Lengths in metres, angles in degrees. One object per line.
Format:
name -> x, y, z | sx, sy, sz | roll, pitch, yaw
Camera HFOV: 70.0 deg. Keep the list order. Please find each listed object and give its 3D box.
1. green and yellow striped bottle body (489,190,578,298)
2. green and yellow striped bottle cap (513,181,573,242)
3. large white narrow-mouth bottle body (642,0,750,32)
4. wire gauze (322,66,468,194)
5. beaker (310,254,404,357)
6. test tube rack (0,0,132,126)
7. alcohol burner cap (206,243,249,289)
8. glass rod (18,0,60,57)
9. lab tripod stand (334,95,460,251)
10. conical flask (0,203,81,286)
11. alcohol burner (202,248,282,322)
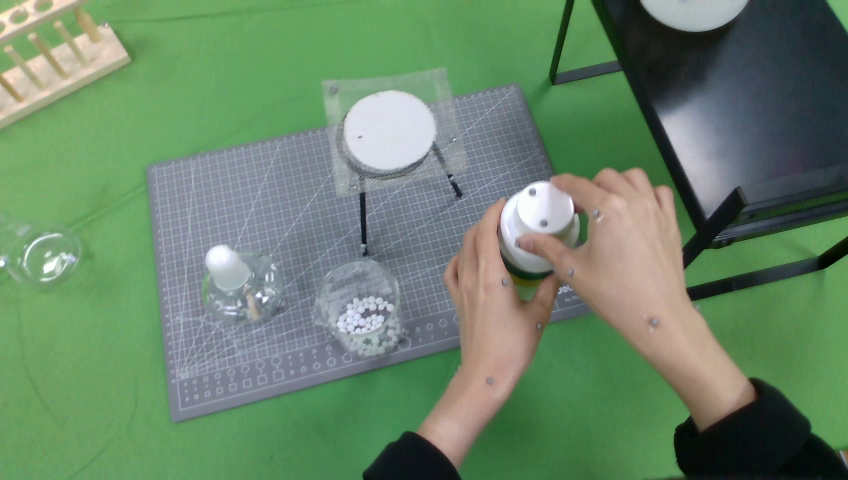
green and yellow striped bottle body -> 0.090, 0.000, 0.506 | 0.063, 0.120, 0.062 | 0, 66, 1
green and yellow striped bottle cap -> 0.090, -0.022, 0.458 | 0.045, 0.020, 0.045 | -1, 66, 2
large white narrow-mouth bottle body -> 0.242, -0.265, 0.470 | 0.102, 0.196, 0.101 | 0, 65, 1
wire gauze -> -0.028, -0.107, 0.559 | 0.121, 0.011, 0.124 | -8, 67, -4
beaker -> -0.059, 0.069, 0.578 | 0.084, 0.101, 0.073 | -25, 67, -8
test tube rack -> -0.486, -0.205, 0.711 | 0.242, 0.086, 0.066 | -33, 70, -12
alcohol burner cap -> -0.182, 0.021, 0.553 | 0.034, 0.048, 0.033 | 0, 60, 0
glass rod -> -0.450, -0.274, 0.667 | 0.008, 0.201, 0.008 | 1, 64, -3
lab tripod stand -> -0.033, -0.074, 0.619 | 0.148, 0.132, 0.147 | 0, 65, 0
conical flask -> -0.410, -0.006, 0.606 | 0.075, 0.123, 0.075 | 0, 67, 1
alcohol burner -> -0.180, 0.037, 0.586 | 0.078, 0.120, 0.077 | 0, 65, 0
